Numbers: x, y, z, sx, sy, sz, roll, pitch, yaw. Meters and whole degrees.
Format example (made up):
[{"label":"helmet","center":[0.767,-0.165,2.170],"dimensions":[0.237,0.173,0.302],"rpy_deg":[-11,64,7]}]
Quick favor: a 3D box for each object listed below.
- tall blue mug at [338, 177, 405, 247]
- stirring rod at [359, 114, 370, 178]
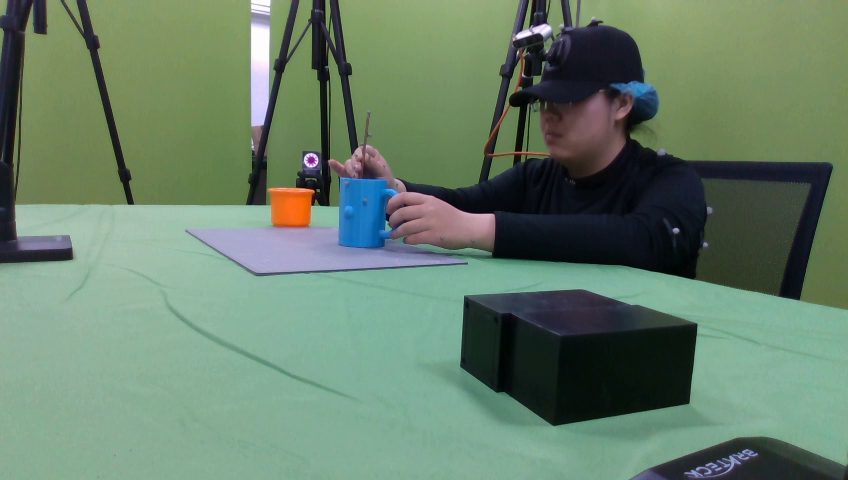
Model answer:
[{"label":"tall blue mug","center":[-0.083,-0.045,0.973],"dimensions":[0.107,0.108,0.078],"rpy_deg":[2,6,0]},{"label":"stirring rod","center":[-0.099,-0.114,0.961],"dimensions":[0.006,0.176,0.014],"rpy_deg":[7,-2,-10]}]
